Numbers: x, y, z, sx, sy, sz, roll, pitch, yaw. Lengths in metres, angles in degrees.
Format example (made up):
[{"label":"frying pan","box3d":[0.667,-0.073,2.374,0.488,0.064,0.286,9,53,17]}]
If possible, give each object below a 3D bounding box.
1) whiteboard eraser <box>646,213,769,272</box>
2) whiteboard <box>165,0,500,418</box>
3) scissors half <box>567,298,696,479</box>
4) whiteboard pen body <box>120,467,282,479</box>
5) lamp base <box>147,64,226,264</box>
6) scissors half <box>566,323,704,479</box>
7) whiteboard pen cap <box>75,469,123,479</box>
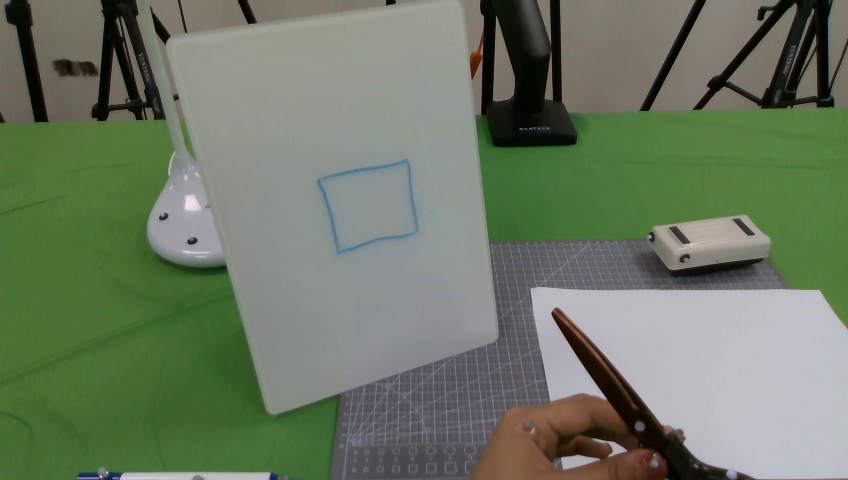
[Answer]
[{"label":"whiteboard eraser","box3d":[0.301,0.004,0.646,0.113,0.042,0.055,-7,40,-8]},{"label":"whiteboard","box3d":[-0.072,-0.038,0.541,0.218,0.307,0.142,-15,22,-16]},{"label":"scissors half","box3d":[0.125,0.105,0.325,0.013,0.175,0.040,-33,-1,12]},{"label":"whiteboard pen body","box3d":[-0.177,0.177,0.448,0.141,0.017,0.017,1,39,-2]},{"label":"lamp base","box3d":[-0.246,-0.091,0.662,0.177,0.182,0.160,26,46,33]},{"label":"scissors half","box3d":[0.122,0.107,0.313,0.013,0.176,0.040,-34,12,18]},{"label":"whiteboard pen cap","box3d":[-0.236,0.177,0.446,0.033,0.018,0.018,0,38,-4]}]
